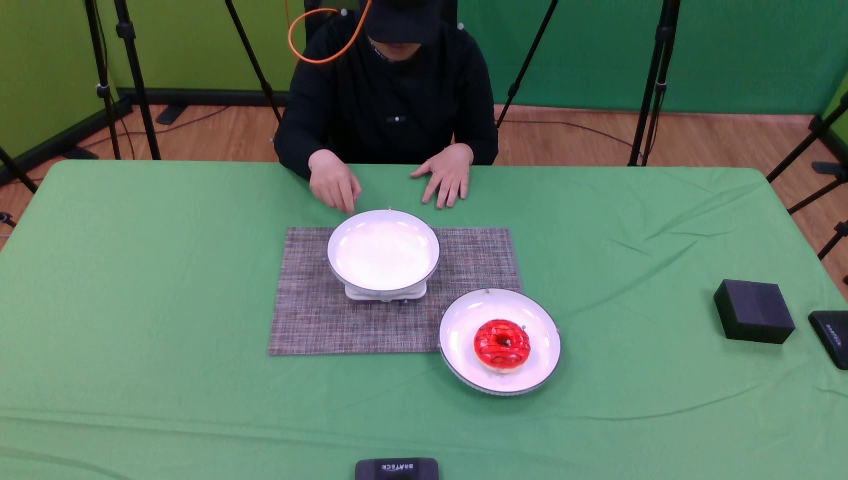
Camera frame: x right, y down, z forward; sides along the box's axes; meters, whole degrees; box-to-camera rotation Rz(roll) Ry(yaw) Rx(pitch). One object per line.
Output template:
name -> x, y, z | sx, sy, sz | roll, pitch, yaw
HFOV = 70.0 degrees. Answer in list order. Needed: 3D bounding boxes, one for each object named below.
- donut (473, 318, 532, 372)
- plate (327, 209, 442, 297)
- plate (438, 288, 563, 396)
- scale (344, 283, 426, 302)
donut -> 0.131, 0.174, 1.010 | 0.099, 0.048, 0.098 | 1, 48, -1
plate -> -0.071, 0.027, 1.110 | 0.208, 0.039, 0.206 | 2, 46, -1
plate -> 0.127, 0.173, 1.025 | 0.209, 0.038, 0.208 | 3, 48, -3
scale -> -0.075, 0.033, 1.149 | 0.149, 0.032, 0.199 | 0, 45, -5
